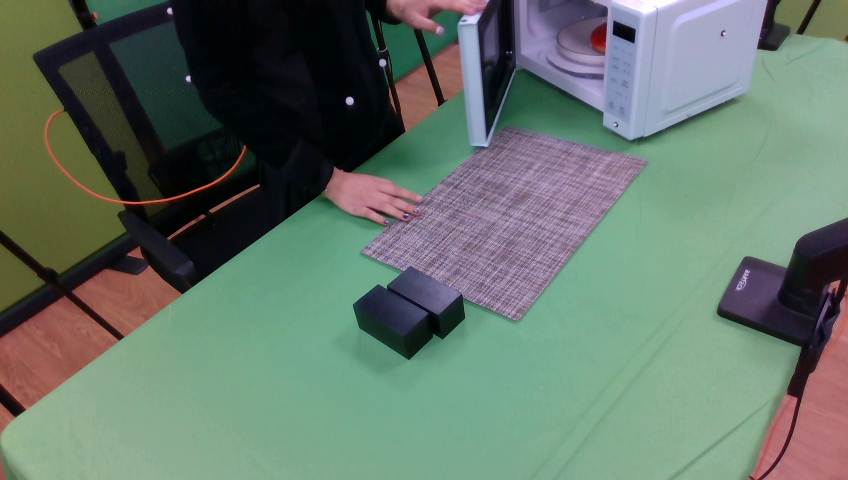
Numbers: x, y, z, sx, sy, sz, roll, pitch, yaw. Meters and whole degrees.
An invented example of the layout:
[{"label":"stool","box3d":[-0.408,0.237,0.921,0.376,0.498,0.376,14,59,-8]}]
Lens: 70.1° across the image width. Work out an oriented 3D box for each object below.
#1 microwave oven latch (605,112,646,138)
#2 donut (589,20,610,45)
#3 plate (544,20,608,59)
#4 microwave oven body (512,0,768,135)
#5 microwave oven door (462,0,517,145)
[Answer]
[{"label":"microwave oven latch","box3d":[0.375,-0.217,1.130,0.030,0.029,0.078,-25,42,-16]},{"label":"donut","box3d":[0.405,-0.431,1.298,0.099,0.048,0.098,-2,60,4]},{"label":"plate","box3d":[0.359,-0.428,1.291,0.209,0.038,0.208,1,34,0]},{"label":"microwave oven body","box3d":[0.410,-0.441,1.235,0.327,0.261,0.437,-25,42,-16]},{"label":"microwave oven door","box3d":[0.139,-0.389,1.218,0.039,0.245,0.355,4,42,16]}]
